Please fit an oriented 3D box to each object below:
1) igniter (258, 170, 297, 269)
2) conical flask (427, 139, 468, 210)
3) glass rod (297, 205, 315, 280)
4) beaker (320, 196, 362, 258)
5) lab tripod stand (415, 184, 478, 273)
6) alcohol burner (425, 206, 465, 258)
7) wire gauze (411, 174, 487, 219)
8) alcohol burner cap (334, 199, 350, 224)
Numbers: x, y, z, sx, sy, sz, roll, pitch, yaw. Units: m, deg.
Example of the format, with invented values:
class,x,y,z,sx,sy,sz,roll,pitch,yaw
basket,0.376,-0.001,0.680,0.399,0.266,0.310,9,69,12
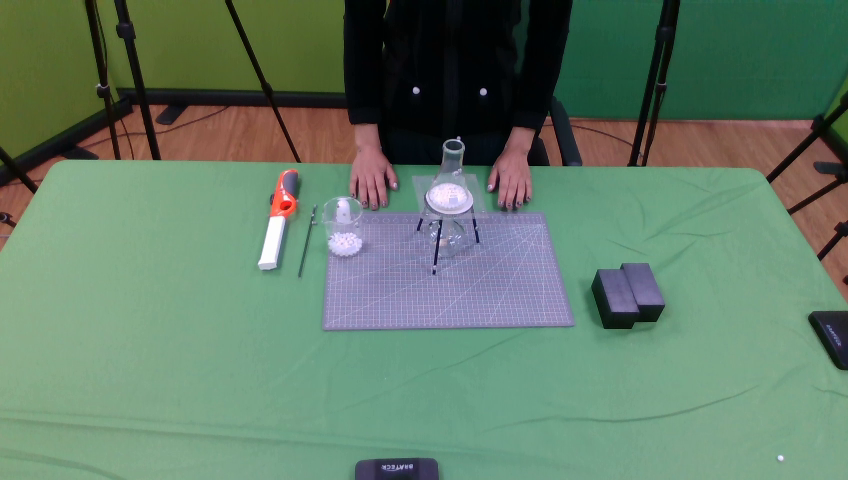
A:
class,x,y,z,sx,sy,sz,roll,pitch,yaw
igniter,-0.294,-0.049,1.221,0.057,0.025,0.274,-5,45,4
conical flask,0.046,-0.117,1.061,0.075,0.122,0.075,3,46,-2
glass rod,-0.232,0.001,1.192,0.008,0.008,0.198,3,46,-1
beaker,-0.156,-0.021,1.150,0.084,0.101,0.073,-30,55,-28
lab tripod stand,0.041,-0.031,1.152,0.148,0.132,0.147,3,44,-3
alcohol burner,0.041,-0.023,1.158,0.078,0.119,0.077,3,47,-3
wire gauze,0.044,-0.079,1.107,0.125,0.011,0.120,-4,44,-6
alcohol burner cap,-0.168,-0.061,1.228,0.034,0.048,0.033,3,46,-2
